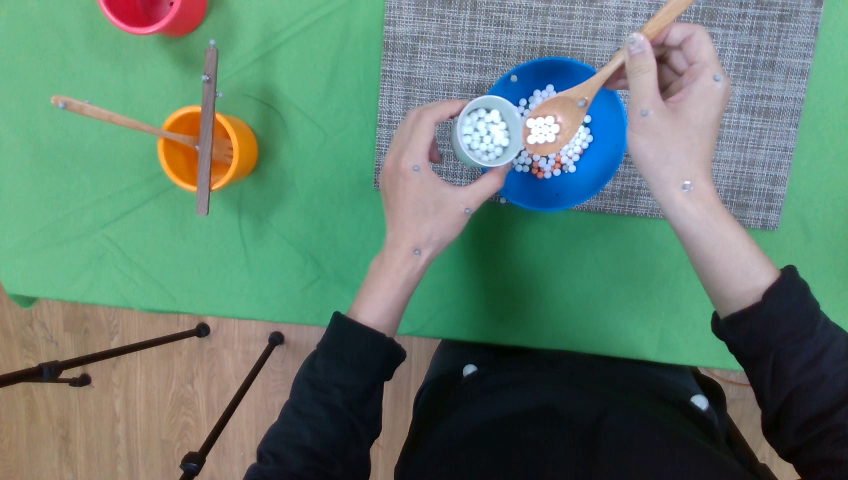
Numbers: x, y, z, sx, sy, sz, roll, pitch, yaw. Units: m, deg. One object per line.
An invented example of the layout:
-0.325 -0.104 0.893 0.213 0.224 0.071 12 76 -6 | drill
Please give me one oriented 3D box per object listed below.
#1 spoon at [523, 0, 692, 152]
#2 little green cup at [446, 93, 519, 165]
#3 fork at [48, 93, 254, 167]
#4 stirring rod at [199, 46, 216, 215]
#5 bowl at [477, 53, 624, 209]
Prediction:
0.149 -0.138 0.464 0.041 0.021 0.194 47 125 1 | spoon
0.049 -0.095 0.532 0.062 0.038 0.061 1 88 -15 | little green cup
-0.282 -0.116 0.646 0.209 0.018 0.028 14 110 -40 | fork
-0.228 -0.113 0.638 0.014 0.006 0.176 7 102 7 | stirring rod
0.125 -0.112 0.632 0.151 0.076 0.152 1 102 7 | bowl
